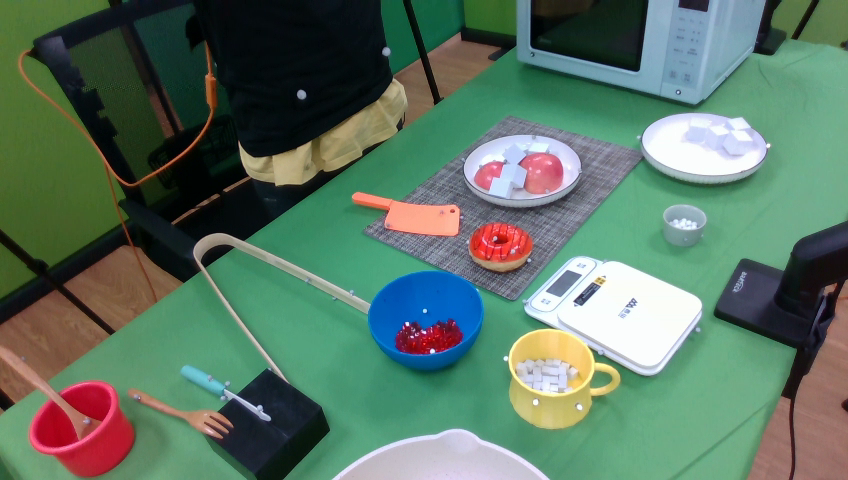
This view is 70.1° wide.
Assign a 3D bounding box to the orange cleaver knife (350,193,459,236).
[{"bbox_3d":[-0.037,-0.044,1.028,0.210,0.012,0.077,10,49,17],"label":"orange cleaver knife"}]

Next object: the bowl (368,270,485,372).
[{"bbox_3d":[0.007,0.118,0.791,0.151,0.077,0.150,-4,40,4],"label":"bowl"}]

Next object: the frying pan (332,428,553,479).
[{"bbox_3d":[-0.089,0.306,0.564,0.487,0.103,0.306,10,41,7],"label":"frying pan"}]

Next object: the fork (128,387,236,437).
[{"bbox_3d":[-0.305,0.207,0.744,0.206,0.019,0.028,3,41,36],"label":"fork"}]

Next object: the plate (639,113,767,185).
[{"bbox_3d":[0.489,-0.157,1.074,0.207,0.039,0.206,-4,40,4],"label":"plate"}]

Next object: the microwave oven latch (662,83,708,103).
[{"bbox_3d":[0.518,-0.296,1.204,0.078,0.029,0.030,28,52,35],"label":"microwave oven latch"}]

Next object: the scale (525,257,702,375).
[{"bbox_3d":[0.254,0.091,0.821,0.199,0.032,0.149,28,51,35],"label":"scale"}]

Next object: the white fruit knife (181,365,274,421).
[{"bbox_3d":[-0.245,0.187,0.747,0.205,0.027,0.016,9,41,40],"label":"white fruit knife"}]

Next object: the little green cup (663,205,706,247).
[{"bbox_3d":[0.396,-0.020,0.926,0.061,0.039,0.061,-4,40,4],"label":"little green cup"}]

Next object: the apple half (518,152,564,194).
[{"bbox_3d":[0.204,-0.124,1.048,0.075,0.053,0.080,-7,41,-3],"label":"apple half"}]

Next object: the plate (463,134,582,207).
[{"bbox_3d":[0.173,-0.119,1.070,0.209,0.038,0.208,-4,40,4],"label":"plate"}]

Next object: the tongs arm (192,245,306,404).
[{"bbox_3d":[-0.267,0.111,0.884,0.028,0.028,0.384,-37,47,-18],"label":"tongs arm"}]

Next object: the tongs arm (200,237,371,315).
[{"bbox_3d":[-0.209,0.063,0.924,0.381,0.027,0.051,22,53,32],"label":"tongs arm"}]

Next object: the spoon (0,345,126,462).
[{"bbox_3d":[-0.434,0.192,0.720,0.194,0.021,0.042,47,55,-7],"label":"spoon"}]

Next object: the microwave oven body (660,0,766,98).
[{"bbox_3d":[0.472,-0.513,1.317,0.438,0.261,0.327,26,51,34],"label":"microwave oven body"}]

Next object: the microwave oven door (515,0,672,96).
[{"bbox_3d":[0.343,-0.454,1.259,0.353,0.245,0.039,26,51,33],"label":"microwave oven door"}]

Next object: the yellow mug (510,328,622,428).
[{"bbox_3d":[0.169,0.164,0.722,0.130,0.064,0.099,0,41,8],"label":"yellow mug"}]

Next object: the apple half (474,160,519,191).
[{"bbox_3d":[0.130,-0.120,1.068,0.081,0.033,0.081,-3,37,3],"label":"apple half"}]

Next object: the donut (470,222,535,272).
[{"bbox_3d":[0.119,0.009,0.923,0.099,0.048,0.098,-4,38,3],"label":"donut"}]
